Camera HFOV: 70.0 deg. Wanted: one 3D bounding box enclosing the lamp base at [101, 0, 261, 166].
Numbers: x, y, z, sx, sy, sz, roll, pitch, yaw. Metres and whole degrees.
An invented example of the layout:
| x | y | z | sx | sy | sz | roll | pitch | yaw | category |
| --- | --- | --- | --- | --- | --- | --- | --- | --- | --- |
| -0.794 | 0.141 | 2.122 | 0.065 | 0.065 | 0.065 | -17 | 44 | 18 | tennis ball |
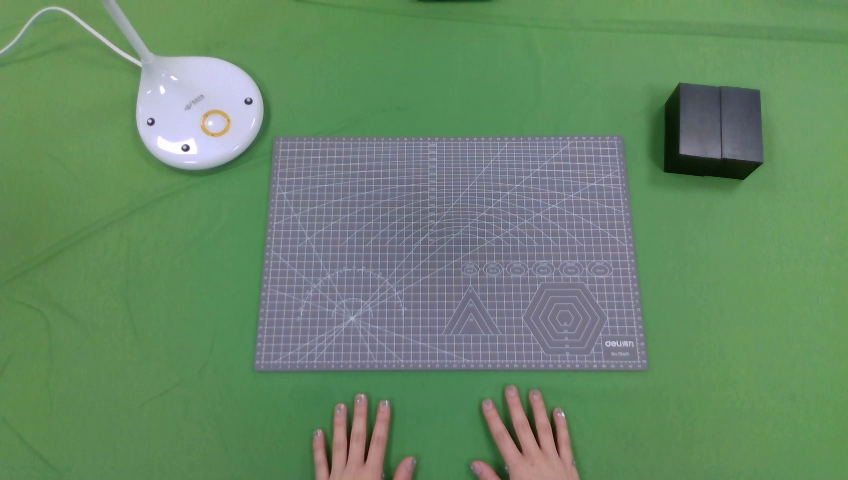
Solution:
| x | y | z | sx | sy | sz | roll | pitch | yaw | category |
| --- | --- | --- | --- | --- | --- | --- | --- | --- | --- |
| -0.302 | -0.200 | 0.711 | 0.178 | 0.181 | 0.160 | 33 | 75 | 13 | lamp base |
